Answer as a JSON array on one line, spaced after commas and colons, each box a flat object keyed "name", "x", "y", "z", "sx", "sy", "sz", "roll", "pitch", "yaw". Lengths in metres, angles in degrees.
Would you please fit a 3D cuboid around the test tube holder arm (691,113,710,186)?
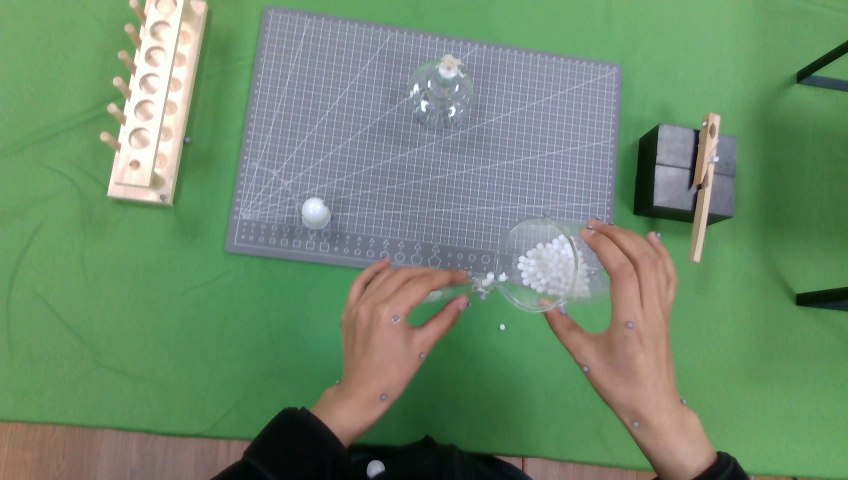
[{"name": "test tube holder arm", "x": 0.327, "y": -0.106, "z": 0.716, "sx": 0.010, "sy": 0.015, "sz": 0.087, "roll": 10, "pitch": 82, "yaw": -4}]

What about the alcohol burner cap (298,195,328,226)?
[{"name": "alcohol burner cap", "x": -0.125, "y": -0.035, "z": 0.676, "sx": 0.034, "sy": 0.048, "sz": 0.033, "roll": 1, "pitch": 82, "yaw": -8}]

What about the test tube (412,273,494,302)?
[{"name": "test tube", "x": 0.022, "y": 0.045, "z": 0.560, "sx": 0.017, "sy": 0.150, "sz": 0.017, "roll": 4, "pitch": 79, "yaw": -23}]

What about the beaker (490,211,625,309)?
[{"name": "beaker", "x": 0.113, "y": 0.018, "z": 0.501, "sx": 0.101, "sy": 0.084, "sz": 0.073, "roll": 2, "pitch": 69, "yaw": -48}]

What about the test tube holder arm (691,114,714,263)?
[{"name": "test tube holder arm", "x": 0.327, "y": -0.061, "z": 0.710, "sx": 0.013, "sy": 0.015, "sz": 0.178, "roll": 8, "pitch": 82, "yaw": -5}]

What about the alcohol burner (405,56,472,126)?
[{"name": "alcohol burner", "x": 0.018, "y": -0.174, "z": 0.681, "sx": 0.078, "sy": 0.119, "sz": 0.077, "roll": 1, "pitch": 81, "yaw": -5}]

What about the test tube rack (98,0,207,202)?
[{"name": "test tube rack", "x": -0.297, "y": -0.171, "z": 0.654, "sx": 0.067, "sy": 0.085, "sz": 0.241, "roll": 7, "pitch": 80, "yaw": -6}]
